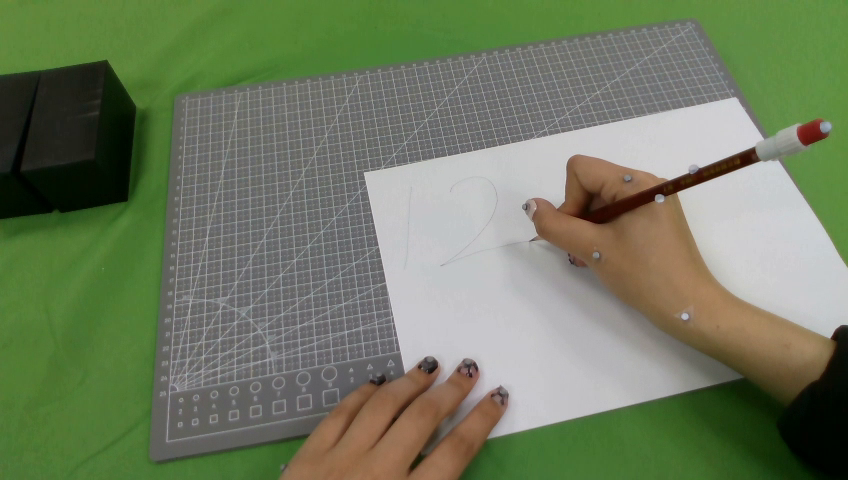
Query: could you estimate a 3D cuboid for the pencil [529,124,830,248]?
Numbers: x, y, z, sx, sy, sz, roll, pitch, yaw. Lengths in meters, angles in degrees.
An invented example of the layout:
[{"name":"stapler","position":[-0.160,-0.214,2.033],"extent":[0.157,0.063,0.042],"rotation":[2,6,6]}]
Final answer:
[{"name":"pencil","position":[0.121,-0.020,0.336],"extent":[0.012,0.194,0.012],"rotation":[10,70,-29]}]
